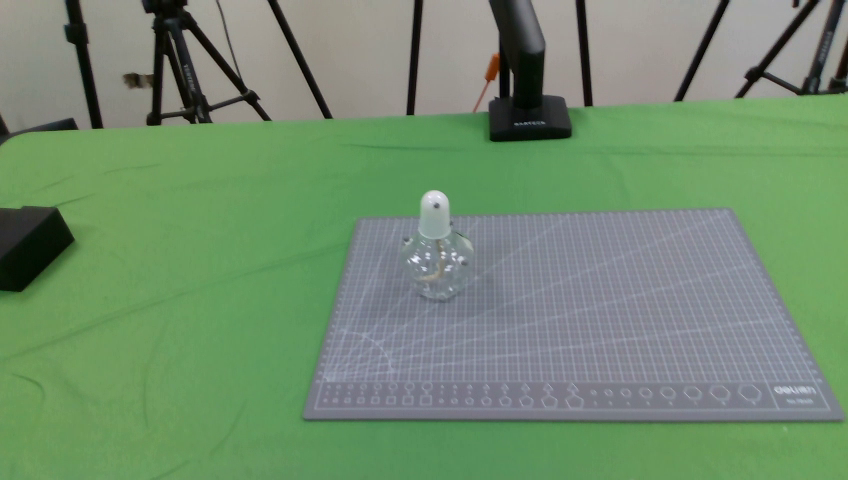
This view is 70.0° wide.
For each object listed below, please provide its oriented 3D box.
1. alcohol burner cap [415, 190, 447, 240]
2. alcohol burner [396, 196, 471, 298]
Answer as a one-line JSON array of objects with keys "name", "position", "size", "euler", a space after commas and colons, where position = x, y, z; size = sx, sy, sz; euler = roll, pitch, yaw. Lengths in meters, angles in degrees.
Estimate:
[{"name": "alcohol burner cap", "position": [0.008, -0.027, 0.595], "size": [0.034, 0.048, 0.033], "euler": [1, 40, 0]}, {"name": "alcohol burner", "position": [0.009, 0.002, 0.618], "size": [0.078, 0.120, 0.077], "euler": [-2, 39, 2]}]
